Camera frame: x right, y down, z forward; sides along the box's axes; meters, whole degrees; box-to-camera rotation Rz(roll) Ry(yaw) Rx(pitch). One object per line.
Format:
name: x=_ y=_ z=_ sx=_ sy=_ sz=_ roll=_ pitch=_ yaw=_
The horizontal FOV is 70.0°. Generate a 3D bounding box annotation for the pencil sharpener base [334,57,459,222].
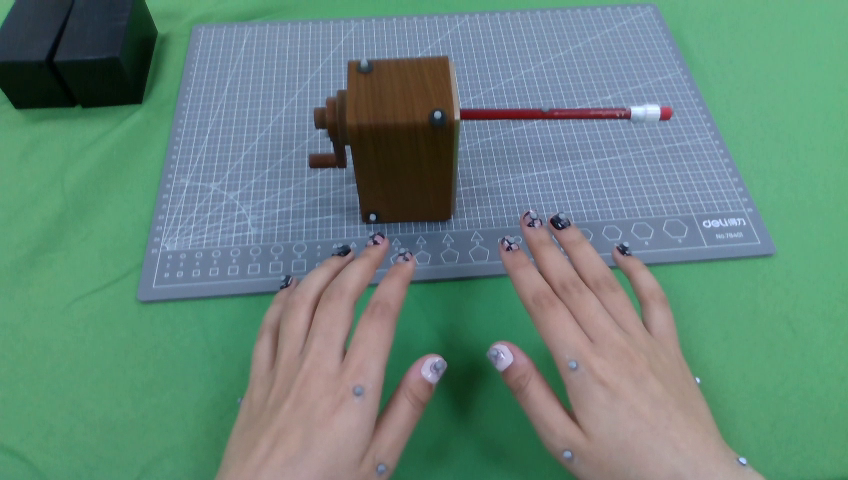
pencil sharpener base: x=-0.018 y=-0.065 z=0.421 sx=0.077 sy=0.108 sz=0.061 roll=-3 pitch=56 yaw=-2

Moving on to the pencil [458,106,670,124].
pencil: x=0.069 y=-0.082 z=0.404 sx=0.194 sy=0.012 sz=0.012 roll=-1 pitch=55 yaw=-3

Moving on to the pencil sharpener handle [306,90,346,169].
pencil sharpener handle: x=-0.069 y=-0.070 z=0.409 sx=0.030 sy=0.068 sz=0.035 roll=-3 pitch=59 yaw=-1
